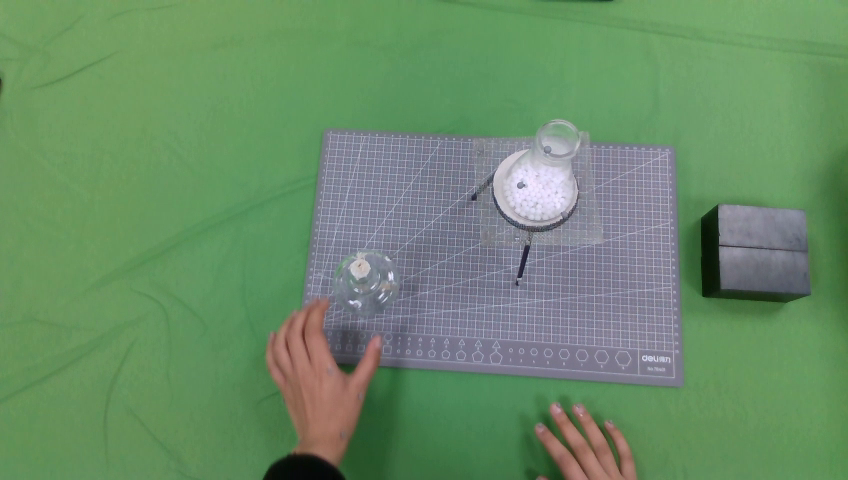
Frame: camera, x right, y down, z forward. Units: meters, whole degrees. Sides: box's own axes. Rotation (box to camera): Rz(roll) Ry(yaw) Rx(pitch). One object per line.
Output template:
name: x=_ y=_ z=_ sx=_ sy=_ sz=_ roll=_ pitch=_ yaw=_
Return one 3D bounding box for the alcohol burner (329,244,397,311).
alcohol burner: x=-0.069 y=0.038 z=0.678 sx=0.078 sy=0.120 sz=0.077 roll=0 pitch=73 yaw=1

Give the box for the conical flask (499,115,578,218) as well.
conical flask: x=0.112 y=-0.072 z=0.563 sx=0.075 sy=0.122 sz=0.075 roll=0 pitch=74 yaw=1

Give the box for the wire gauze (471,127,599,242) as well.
wire gauze: x=0.113 y=-0.056 z=0.621 sx=0.125 sy=0.011 sz=0.121 roll=-2 pitch=77 yaw=-2

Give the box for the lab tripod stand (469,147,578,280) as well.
lab tripod stand: x=0.117 y=-0.041 z=0.684 sx=0.148 sy=0.132 sz=0.147 roll=0 pitch=73 yaw=1
